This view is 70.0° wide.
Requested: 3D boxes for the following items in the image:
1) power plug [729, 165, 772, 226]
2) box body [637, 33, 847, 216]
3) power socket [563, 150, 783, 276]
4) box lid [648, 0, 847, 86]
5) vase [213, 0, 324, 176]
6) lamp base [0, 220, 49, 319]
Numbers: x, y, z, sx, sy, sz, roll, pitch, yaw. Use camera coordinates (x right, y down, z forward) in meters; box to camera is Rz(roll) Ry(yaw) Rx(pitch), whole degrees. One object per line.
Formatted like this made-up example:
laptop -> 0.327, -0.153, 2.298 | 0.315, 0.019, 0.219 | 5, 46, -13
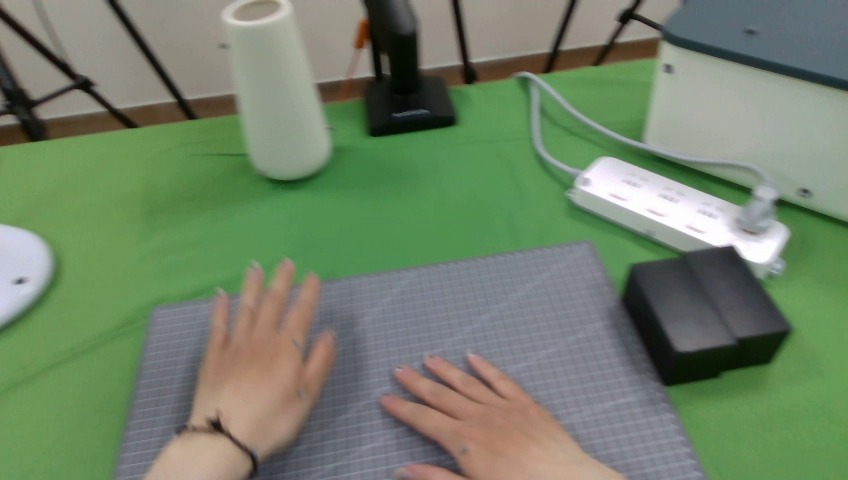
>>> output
power plug -> 0.333, -0.036, 0.601 | 0.072, 0.053, 0.035 | -29, 47, -28
box body -> 0.452, -0.170, 0.665 | 0.361, 0.162, 0.253 | 26, 53, 27
power socket -> 0.258, -0.034, 0.637 | 0.225, 0.033, 0.072 | 29, 53, 29
box lid -> 0.449, -0.221, 0.612 | 0.368, 0.015, 0.262 | 26, 53, 27
vase -> -0.175, -0.172, 0.691 | 0.098, 0.202, 0.097 | -2, 44, 2
lamp base -> -0.485, -0.020, 0.574 | 0.160, 0.182, 0.177 | -33, 49, -26
